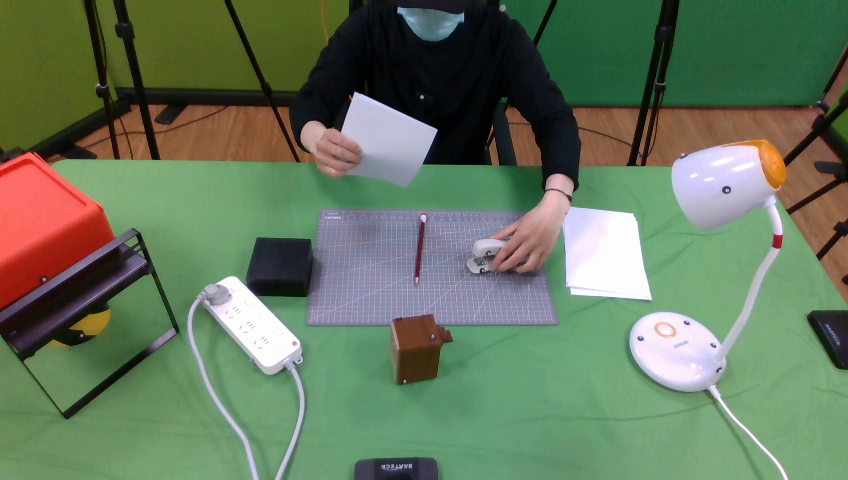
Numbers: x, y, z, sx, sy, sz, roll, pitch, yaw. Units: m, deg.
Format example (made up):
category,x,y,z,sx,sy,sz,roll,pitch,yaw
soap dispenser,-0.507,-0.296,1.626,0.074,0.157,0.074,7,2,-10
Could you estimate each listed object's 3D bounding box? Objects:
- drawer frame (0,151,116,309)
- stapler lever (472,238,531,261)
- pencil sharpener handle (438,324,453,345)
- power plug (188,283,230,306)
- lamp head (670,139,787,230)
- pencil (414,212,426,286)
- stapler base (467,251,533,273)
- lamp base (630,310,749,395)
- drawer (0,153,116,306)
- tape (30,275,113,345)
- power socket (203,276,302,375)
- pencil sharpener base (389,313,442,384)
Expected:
category,x,y,z,sx,sy,sz,roll,pitch,yaw
drawer frame,-0.604,-0.013,0.876,0.201,0.083,0.213,31,52,23
stapler lever,0.149,0.011,1.157,0.118,0.040,0.026,-13,42,-17
pencil sharpener handle,0.036,0.155,0.976,0.031,0.068,0.036,-8,69,-11
power plug,-0.368,0.099,1.037,0.072,0.053,0.035,-24,52,-25
lamp head,0.415,-0.079,0.812,0.113,0.123,0.112,13,70,-37
pencil,-0.008,0.014,1.190,0.012,0.012,0.193,5,48,1
stapler base,0.147,0.031,1.171,0.131,0.024,0.041,-12,42,-17
lamp base,0.447,0.143,0.984,0.161,0.181,0.178,-24,55,-24
drawer,-0.601,-0.015,0.880,0.193,0.073,0.211,32,53,23
tape,-0.593,0.117,1.021,0.117,0.053,0.116,2,46,-2
power socket,-0.297,0.141,1.034,0.072,0.033,0.225,-34,58,-30
pencil sharpener base,-0.013,0.175,0.971,0.077,0.107,0.061,-8,47,-11
